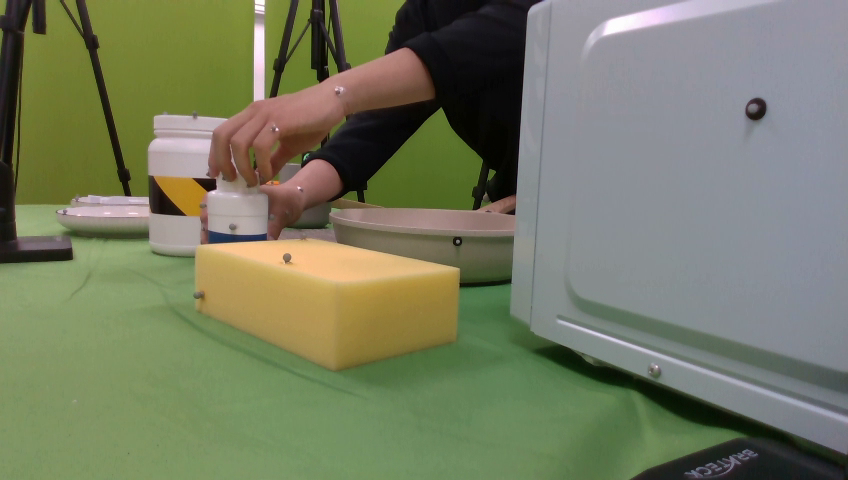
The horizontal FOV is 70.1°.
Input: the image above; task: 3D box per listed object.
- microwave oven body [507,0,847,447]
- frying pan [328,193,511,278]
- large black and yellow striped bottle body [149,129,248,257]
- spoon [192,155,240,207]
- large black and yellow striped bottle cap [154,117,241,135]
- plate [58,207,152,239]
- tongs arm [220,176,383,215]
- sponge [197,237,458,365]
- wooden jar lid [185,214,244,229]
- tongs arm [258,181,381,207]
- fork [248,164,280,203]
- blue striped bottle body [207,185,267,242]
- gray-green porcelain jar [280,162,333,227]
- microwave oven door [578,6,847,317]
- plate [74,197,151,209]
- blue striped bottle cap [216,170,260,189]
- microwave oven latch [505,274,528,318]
[{"bbox_3d":[0.331,-0.042,0.425,0.444,0.260,0.324,-2,8,-31],"label":"microwave oven body"},{"bbox_3d":[0.072,-0.030,0.883,0.305,0.102,0.490,7,17,28],"label":"frying pan"},{"bbox_3d":[-0.315,-0.075,0.854,0.131,0.184,0.130,2,7,0],"label":"large black and yellow striped bottle body"},{"bbox_3d":[-0.489,-0.135,1.417,0.041,0.021,0.194,3,-36,20],"label":"spoon"},{"bbox_3d":[-0.314,-0.158,0.843,0.115,0.019,0.115,3,7,0],"label":"large black and yellow striped bottle cap"},{"bbox_3d":[-0.496,-0.030,1.021,0.209,0.038,0.209,2,8,0],"label":"plate"},{"bbox_3d":[-0.285,-0.104,1.445,0.389,0.027,0.028,9,-4,-23],"label":"tongs arm"},{"bbox_3d":[-0.087,0.039,0.500,0.206,0.061,0.119,8,9,44],"label":"sponge"},{"bbox_3d":[-0.404,-0.037,1.169,0.108,0.020,0.108,3,7,0],"label":"wooden jar lid"},{"bbox_3d":[-0.241,-0.095,1.373,0.387,0.026,0.050,9,0,-37],"label":"tongs arm"},{"bbox_3d":[-0.398,-0.144,1.489,0.028,0.018,0.208,20,-25,46],"label":"fork"},{"bbox_3d":[-0.204,-0.016,0.660,0.063,0.120,0.063,2,6,0],"label":"blue striped bottle body"},{"bbox_3d":[-0.238,-0.092,1.221,0.106,0.126,0.106,2,7,0],"label":"gray-green porcelain jar"},{"bbox_3d":[0.294,-0.067,0.570,0.358,0.243,0.039,-3,9,-31],"label":"microwave oven door"},{"bbox_3d":[-0.596,-0.062,1.238,0.208,0.039,0.207,2,8,0],"label":"plate"},{"bbox_3d":[-0.201,-0.066,0.654,0.044,0.020,0.044,-2,6,1],"label":"blue striped bottle cap"},{"bbox_3d":[0.100,0.041,0.473,0.079,0.029,0.030,-2,8,-31],"label":"microwave oven latch"}]
